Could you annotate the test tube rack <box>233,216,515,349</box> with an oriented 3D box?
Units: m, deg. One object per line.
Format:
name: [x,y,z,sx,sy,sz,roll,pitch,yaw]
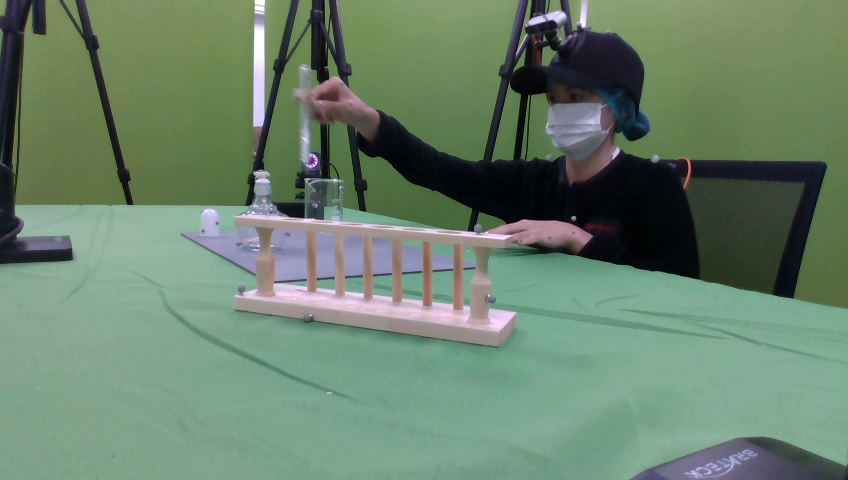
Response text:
test tube rack: [-0.045,0.029,0.526,0.241,0.085,0.067,5,8,19]

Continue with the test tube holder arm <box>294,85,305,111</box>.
test tube holder arm: [-0.194,-0.220,0.943,0.015,0.010,0.087,-9,-4,-15]

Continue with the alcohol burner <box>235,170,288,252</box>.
alcohol burner: [-0.236,-0.042,0.882,0.078,0.119,0.078,2,9,0]

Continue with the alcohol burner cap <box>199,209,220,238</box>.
alcohol burner cap: [-0.356,-0.027,1.002,0.034,0.048,0.034,2,7,0]

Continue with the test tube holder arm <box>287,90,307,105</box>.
test tube holder arm: [-0.208,-0.233,0.984,0.015,0.013,0.177,-11,22,-15]

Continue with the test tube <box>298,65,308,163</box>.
test tube: [-0.184,-0.192,0.918,0.017,0.150,0.017,-1,-4,0]

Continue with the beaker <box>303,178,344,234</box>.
beaker: [-0.189,-0.063,1.119,0.073,0.100,0.084,6,9,28]
